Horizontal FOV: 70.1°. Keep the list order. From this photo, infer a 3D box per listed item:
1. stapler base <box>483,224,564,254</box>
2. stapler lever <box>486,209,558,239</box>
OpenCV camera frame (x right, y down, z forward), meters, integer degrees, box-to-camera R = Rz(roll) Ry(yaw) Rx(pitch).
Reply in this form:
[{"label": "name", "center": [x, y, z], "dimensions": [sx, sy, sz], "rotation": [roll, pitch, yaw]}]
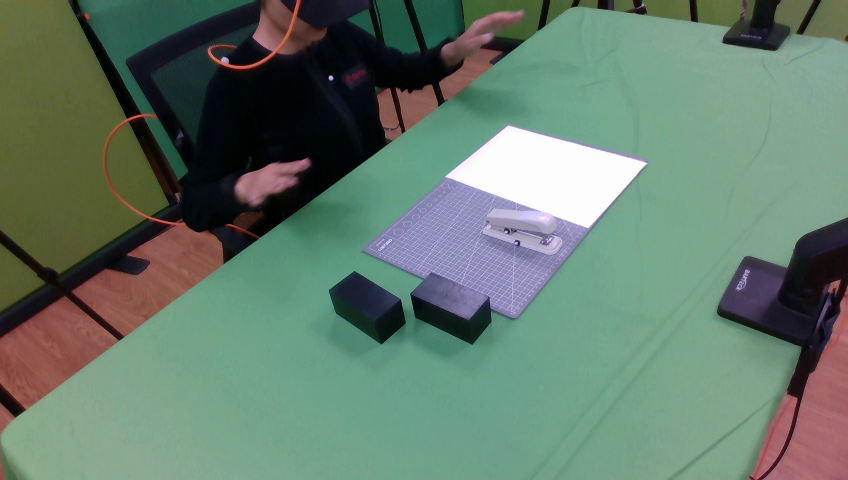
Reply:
[{"label": "stapler base", "center": [0.158, -0.012, 0.963], "dimensions": [0.129, 0.024, 0.041], "rotation": [17, 45, 31]}, {"label": "stapler lever", "center": [0.153, -0.032, 0.947], "dimensions": [0.117, 0.040, 0.027], "rotation": [17, 45, 31]}]
